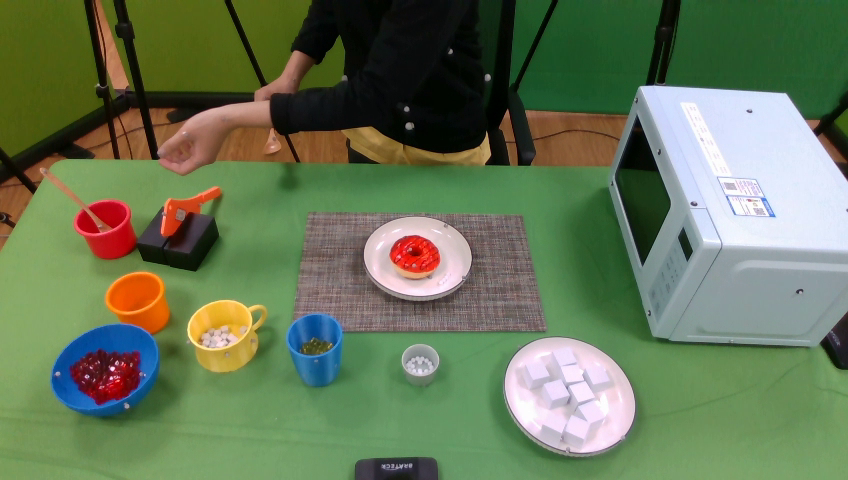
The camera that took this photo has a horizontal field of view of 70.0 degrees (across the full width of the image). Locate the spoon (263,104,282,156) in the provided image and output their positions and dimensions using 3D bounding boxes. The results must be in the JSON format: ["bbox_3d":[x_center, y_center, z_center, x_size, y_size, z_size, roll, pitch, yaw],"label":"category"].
[{"bbox_3d":[-0.329,-0.244,1.326,0.041,0.022,0.192,-14,49,5],"label":"spoon"}]

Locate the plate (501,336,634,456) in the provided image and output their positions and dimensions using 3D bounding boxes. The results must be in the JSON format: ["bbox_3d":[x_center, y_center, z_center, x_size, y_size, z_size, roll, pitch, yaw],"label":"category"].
[{"bbox_3d":[0.225,0.248,0.964,0.208,0.039,0.206,2,46,-2],"label":"plate"}]

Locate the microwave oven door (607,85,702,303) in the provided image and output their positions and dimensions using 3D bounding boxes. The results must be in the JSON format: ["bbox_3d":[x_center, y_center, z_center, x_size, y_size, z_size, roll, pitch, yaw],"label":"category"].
[{"bbox_3d":[0.424,-0.094,1.141,0.039,0.245,0.353,2,46,-1],"label":"microwave oven door"}]

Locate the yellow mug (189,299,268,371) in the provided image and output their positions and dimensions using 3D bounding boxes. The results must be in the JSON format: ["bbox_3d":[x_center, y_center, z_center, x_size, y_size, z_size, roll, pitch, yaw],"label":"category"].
[{"bbox_3d":[-0.316,0.148,1.002,0.131,0.064,0.099,-32,56,-31],"label":"yellow mug"}]

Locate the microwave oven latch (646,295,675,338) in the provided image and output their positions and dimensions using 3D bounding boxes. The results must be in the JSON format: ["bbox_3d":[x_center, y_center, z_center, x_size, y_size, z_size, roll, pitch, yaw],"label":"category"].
[{"bbox_3d":[0.412,0.134,1.061,0.030,0.029,0.078,4,45,1],"label":"microwave oven latch"}]

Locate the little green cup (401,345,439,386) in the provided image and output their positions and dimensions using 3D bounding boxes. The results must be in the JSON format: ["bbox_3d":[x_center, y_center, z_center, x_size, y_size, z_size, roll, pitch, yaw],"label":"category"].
[{"bbox_3d":[-0.007,0.206,0.988,0.061,0.039,0.061,2,46,-2],"label":"little green cup"}]

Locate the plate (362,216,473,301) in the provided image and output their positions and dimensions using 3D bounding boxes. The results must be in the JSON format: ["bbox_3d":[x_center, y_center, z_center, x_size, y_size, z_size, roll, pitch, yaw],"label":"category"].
[{"bbox_3d":[-0.012,0.038,1.145,0.209,0.038,0.208,2,46,-2],"label":"plate"}]

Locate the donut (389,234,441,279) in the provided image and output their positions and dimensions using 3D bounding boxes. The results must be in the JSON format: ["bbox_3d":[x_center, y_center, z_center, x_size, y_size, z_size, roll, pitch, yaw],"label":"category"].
[{"bbox_3d":[-0.016,0.031,1.135,0.099,0.048,0.098,4,44,-4],"label":"donut"}]

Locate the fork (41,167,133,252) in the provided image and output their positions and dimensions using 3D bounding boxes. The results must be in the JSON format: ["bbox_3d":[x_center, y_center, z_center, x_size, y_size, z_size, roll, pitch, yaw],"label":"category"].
[{"bbox_3d":[-0.624,-0.056,1.121,0.208,0.018,0.028,49,51,-15],"label":"fork"}]

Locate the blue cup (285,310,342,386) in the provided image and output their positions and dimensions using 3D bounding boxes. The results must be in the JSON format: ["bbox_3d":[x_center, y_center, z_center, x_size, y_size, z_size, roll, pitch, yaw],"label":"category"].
[{"bbox_3d":[-0.170,0.179,0.958,0.093,0.101,0.092,2,44,-1],"label":"blue cup"}]

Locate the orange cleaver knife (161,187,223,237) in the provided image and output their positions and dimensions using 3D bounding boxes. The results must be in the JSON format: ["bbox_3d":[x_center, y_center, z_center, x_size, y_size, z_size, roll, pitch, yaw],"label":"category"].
[{"bbox_3d":[-0.448,-0.058,1.181,0.012,0.077,0.211,13,17,6],"label":"orange cleaver knife"}]

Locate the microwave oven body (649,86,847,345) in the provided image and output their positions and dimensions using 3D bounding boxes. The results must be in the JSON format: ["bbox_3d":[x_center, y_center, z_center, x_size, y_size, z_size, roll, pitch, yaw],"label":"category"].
[{"bbox_3d":[0.568,-0.053,1.118,0.326,0.261,0.439,2,45,-1],"label":"microwave oven body"}]

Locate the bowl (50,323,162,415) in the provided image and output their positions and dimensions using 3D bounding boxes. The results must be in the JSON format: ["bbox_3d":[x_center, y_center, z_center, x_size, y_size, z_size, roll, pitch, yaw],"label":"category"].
[{"bbox_3d":[-0.472,0.209,0.924,0.151,0.077,0.150,2,45,-2],"label":"bowl"}]
